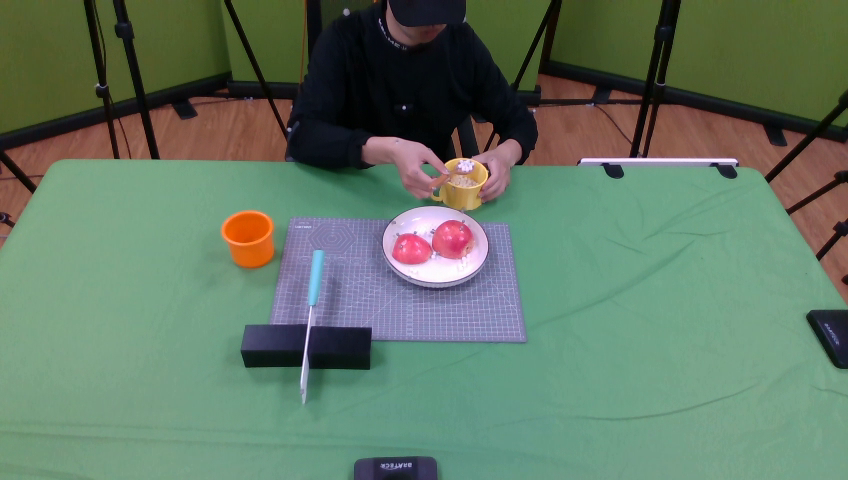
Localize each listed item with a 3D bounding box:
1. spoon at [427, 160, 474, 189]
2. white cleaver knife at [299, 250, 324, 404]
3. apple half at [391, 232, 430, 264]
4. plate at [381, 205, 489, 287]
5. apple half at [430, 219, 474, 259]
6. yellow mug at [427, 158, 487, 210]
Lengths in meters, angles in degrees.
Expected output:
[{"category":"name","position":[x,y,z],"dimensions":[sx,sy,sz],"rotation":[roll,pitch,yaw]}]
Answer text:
[{"category":"spoon","position":[0.050,-0.130,1.195],"dimensions":[0.041,0.022,0.193],"rotation":[23,26,19]},{"category":"white cleaver knife","position":[-0.194,0.134,1.019],"dimensions":[0.021,0.066,0.284],"rotation":[5,50,-5]},{"category":"apple half","position":[-0.024,0.009,1.163],"dimensions":[0.081,0.033,0.081],"rotation":[2,43,-2]},{"category":"plate","position":[0.021,0.015,1.170],"dimensions":[0.209,0.038,0.208],"rotation":[2,46,-2]},{"category":"apple half","position":[0.056,-0.008,1.172],"dimensions":[0.081,0.053,0.074],"rotation":[-34,59,-31]},{"category":"yellow mug","position":[0.067,-0.115,1.284],"dimensions":[0.131,0.064,0.099],"rotation":[-17,49,-18]}]
